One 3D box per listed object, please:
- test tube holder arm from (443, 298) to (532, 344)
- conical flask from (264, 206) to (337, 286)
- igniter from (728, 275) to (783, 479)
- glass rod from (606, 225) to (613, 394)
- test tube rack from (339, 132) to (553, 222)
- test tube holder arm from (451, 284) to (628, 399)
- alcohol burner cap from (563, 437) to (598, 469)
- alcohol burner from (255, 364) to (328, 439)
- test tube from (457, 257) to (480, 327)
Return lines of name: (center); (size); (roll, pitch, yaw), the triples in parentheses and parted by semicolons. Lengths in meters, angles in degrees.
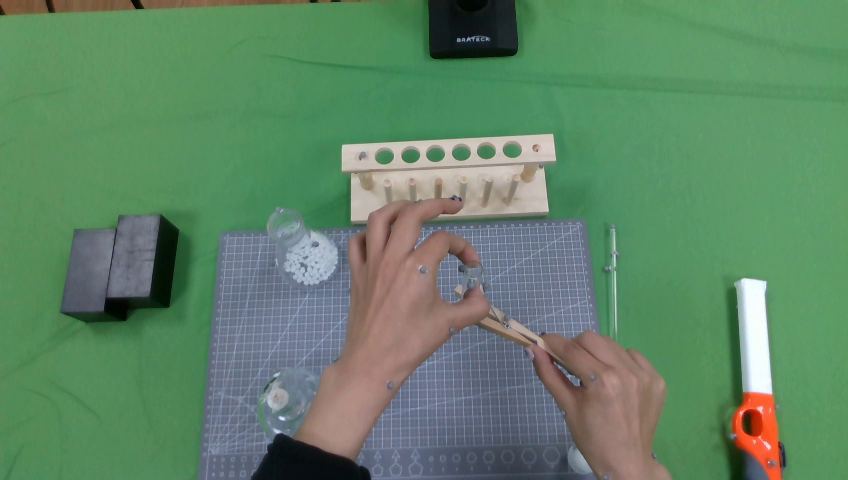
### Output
test tube holder arm: (0.059, 0.075, 0.554); (0.087, 0.015, 0.010); (20, 75, 15)
conical flask: (-0.144, 0.002, 0.676); (0.075, 0.122, 0.075); (0, 71, 2)
igniter: (0.356, 0.173, 0.657); (0.057, 0.025, 0.275); (9, 71, -6)
glass rod: (0.216, 0.077, 0.703); (0.008, 0.008, 0.198); (4, 74, 3)
test tube rack: (0.026, -0.073, 0.720); (0.242, 0.086, 0.066); (-3, 71, 1)
test tube holder arm: (0.100, 0.089, 0.543); (0.177, 0.015, 0.013); (29, 78, 17)
alcohol burner cap: (0.166, 0.223, 0.635); (0.034, 0.048, 0.033); (-1, 70, 2)
alcohol burner: (-0.141, 0.165, 0.626); (0.078, 0.120, 0.077); (-1, 69, 3)
test tube: (0.039, 0.051, 0.545); (0.017, 0.151, 0.017); (0, 65, 1)
